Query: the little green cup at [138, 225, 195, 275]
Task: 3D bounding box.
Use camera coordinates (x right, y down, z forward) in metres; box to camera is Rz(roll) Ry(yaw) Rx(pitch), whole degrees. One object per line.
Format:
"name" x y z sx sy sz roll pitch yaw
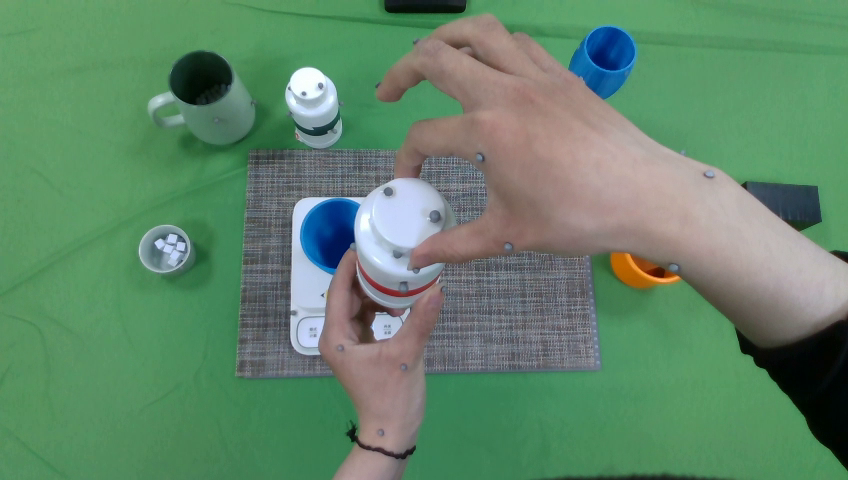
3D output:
"little green cup" -0.320 0.014 0.760 0.061 0.039 0.061 1 75 -4

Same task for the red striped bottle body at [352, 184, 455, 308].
"red striped bottle body" -0.015 0.002 0.395 0.063 0.120 0.062 2 72 -5

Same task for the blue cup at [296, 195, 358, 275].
"blue cup" -0.099 0.003 0.710 0.093 0.100 0.092 1 77 -4

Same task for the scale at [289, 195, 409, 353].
"scale" -0.096 0.040 0.769 0.149 0.031 0.200 -2 76 -4

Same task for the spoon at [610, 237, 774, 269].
"spoon" 0.322 0.021 0.745 0.022 0.192 0.041 21 79 -43

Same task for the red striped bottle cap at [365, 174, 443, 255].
"red striped bottle cap" -0.011 -0.015 0.345 0.044 0.018 0.044 2 73 -7

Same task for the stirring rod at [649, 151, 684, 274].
"stirring rod" 0.302 -0.029 0.757 0.014 0.177 0.006 4 34 11

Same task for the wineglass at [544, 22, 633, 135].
"wineglass" 0.206 -0.202 0.782 0.074 0.173 0.073 1 75 -3

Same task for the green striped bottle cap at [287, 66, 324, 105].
"green striped bottle cap" -0.143 -0.186 0.728 0.044 0.020 0.044 1 74 -4

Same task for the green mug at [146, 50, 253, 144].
"green mug" -0.290 -0.176 0.777 0.125 0.105 0.092 -22 78 -9

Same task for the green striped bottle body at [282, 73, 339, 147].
"green striped bottle body" -0.145 -0.172 0.778 0.063 0.119 0.063 1 75 -3
